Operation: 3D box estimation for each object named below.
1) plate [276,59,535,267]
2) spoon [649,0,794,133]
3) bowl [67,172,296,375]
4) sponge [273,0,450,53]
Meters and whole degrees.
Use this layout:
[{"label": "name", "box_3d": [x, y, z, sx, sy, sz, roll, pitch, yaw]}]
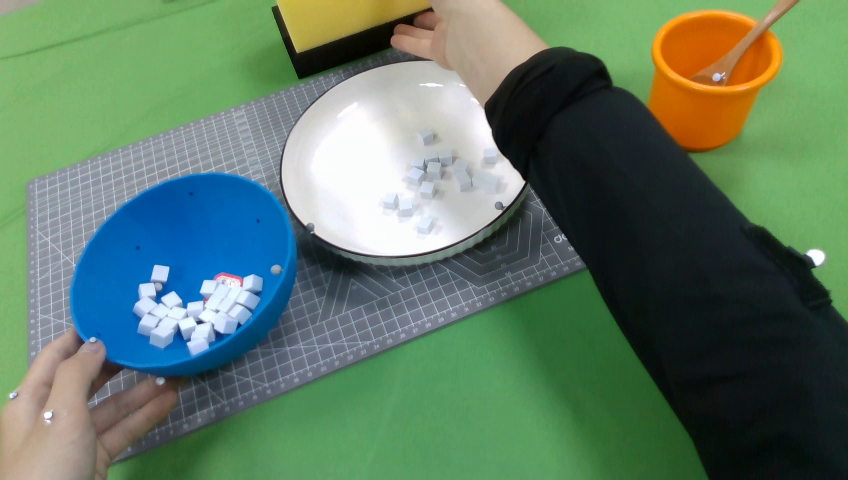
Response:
[{"label": "plate", "box_3d": [-0.015, -0.064, 0.497, 0.209, 0.038, 0.207, -4, 58, 6]}, {"label": "spoon", "box_3d": [0.248, -0.156, 0.455, 0.022, 0.194, 0.041, 3, 47, -45]}, {"label": "bowl", "box_3d": [-0.156, 0.034, 0.431, 0.151, 0.077, 0.150, -4, 57, 6]}, {"label": "sponge", "box_3d": [-0.045, -0.262, 0.558, 0.207, 0.061, 0.117, -22, 57, -6]}]
